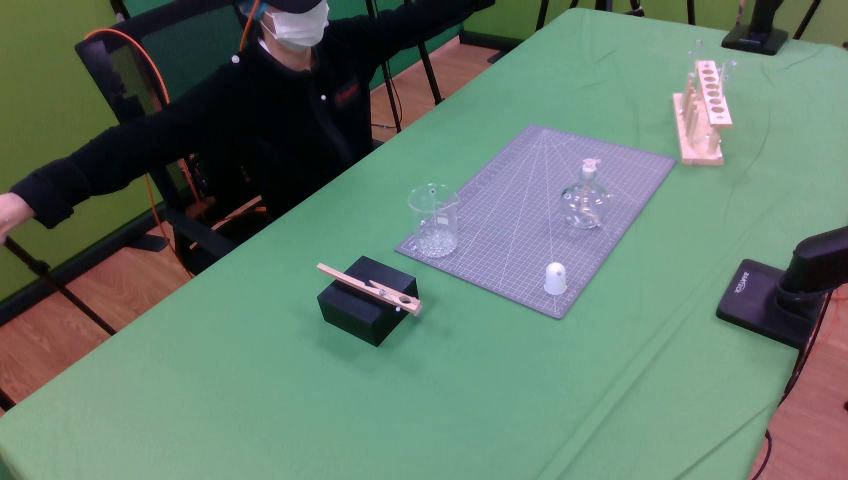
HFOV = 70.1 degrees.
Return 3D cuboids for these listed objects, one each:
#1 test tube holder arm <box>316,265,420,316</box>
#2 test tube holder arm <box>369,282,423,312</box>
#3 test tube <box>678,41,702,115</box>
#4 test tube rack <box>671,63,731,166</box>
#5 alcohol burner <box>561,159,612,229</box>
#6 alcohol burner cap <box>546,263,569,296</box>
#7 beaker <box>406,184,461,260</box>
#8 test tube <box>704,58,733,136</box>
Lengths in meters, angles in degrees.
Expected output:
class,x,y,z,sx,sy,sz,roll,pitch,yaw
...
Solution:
class,x,y,z,sx,sy,sz,roll,pitch,yaw
test tube holder arm,-0.081,0.068,0.835,0.177,0.015,0.013,18,55,28
test tube holder arm,-0.040,0.076,0.817,0.087,0.015,0.010,18,55,28
test tube,0.500,-0.303,1.138,0.017,0.151,0.017,-4,42,4
test tube rack,0.513,-0.240,1.132,0.066,0.085,0.242,4,41,14
alcohol burner,0.257,-0.077,0.951,0.078,0.119,0.077,-3,40,3
alcohol burner cap,0.191,0.053,0.862,0.034,0.048,0.033,-5,40,4
beaker,0.019,-0.026,0.939,0.084,0.101,0.074,1,41,10
test tube,0.516,-0.247,1.062,0.017,0.151,0.017,-3,43,4
